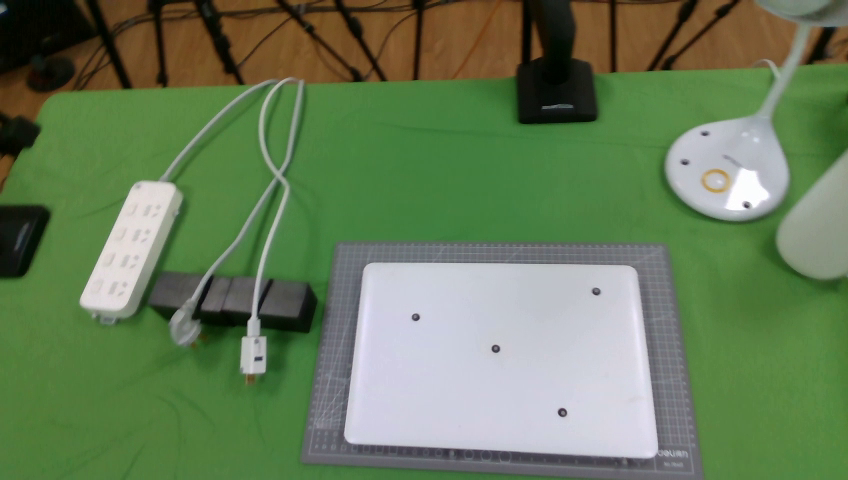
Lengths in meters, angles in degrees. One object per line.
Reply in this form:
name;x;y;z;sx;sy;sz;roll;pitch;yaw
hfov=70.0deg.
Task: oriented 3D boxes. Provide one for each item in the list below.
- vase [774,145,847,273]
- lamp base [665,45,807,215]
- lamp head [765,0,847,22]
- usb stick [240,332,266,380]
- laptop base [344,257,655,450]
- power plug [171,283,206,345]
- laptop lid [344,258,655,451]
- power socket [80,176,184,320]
vase;0.486;-0.043;0.698;0.098;0.202;0.097;-3;58;6
lamp base;0.417;-0.150;0.777;0.159;0.182;0.179;31;65;21
lamp head;0.348;-0.260;0.500;0.111;0.113;0.123;28;85;20
usb stick;-0.209;0.142;0.741;0.027;0.021;0.059;-2;85;40
laptop base;0.088;0.131;0.743;0.354;0.023;0.233;0;64;6
power plug;-0.285;0.098;0.761;0.072;0.053;0.035;-46;46;-10
laptop lid;0.086;0.128;0.732;0.356;0.013;0.239;2;63;7
power socket;-0.408;0.003;0.856;0.072;0.033;0.225;6;61;8
